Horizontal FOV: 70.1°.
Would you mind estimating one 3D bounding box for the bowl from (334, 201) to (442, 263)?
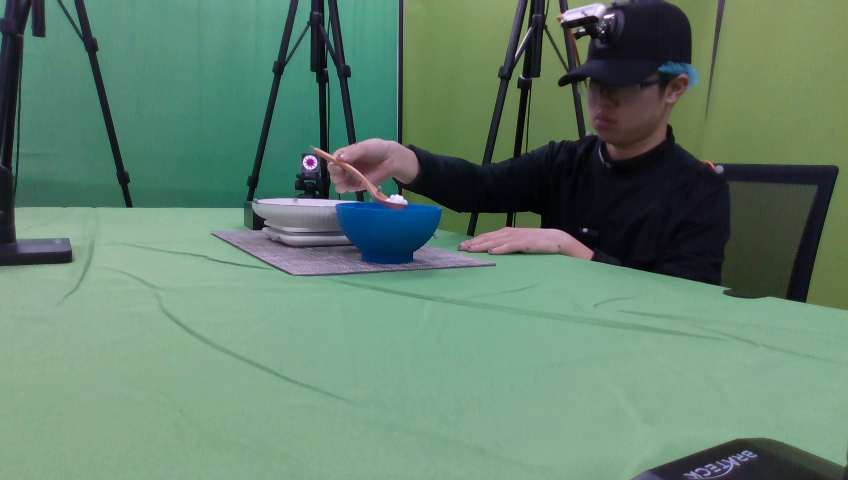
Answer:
[{"bbox_3d":[-0.051,-0.012,0.849,0.151,0.077,0.151,2,7,0],"label":"bowl"}]

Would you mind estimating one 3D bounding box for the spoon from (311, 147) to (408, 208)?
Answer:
[{"bbox_3d":[-0.100,-0.096,0.901,0.193,0.021,0.042,38,17,25],"label":"spoon"}]

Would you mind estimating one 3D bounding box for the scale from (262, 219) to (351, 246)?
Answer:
[{"bbox_3d":[-0.160,-0.015,1.027,0.202,0.031,0.148,-2,8,-32],"label":"scale"}]

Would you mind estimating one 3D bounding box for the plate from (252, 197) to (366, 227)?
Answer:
[{"bbox_3d":[-0.179,-0.047,1.012,0.209,0.038,0.209,2,6,0],"label":"plate"}]
